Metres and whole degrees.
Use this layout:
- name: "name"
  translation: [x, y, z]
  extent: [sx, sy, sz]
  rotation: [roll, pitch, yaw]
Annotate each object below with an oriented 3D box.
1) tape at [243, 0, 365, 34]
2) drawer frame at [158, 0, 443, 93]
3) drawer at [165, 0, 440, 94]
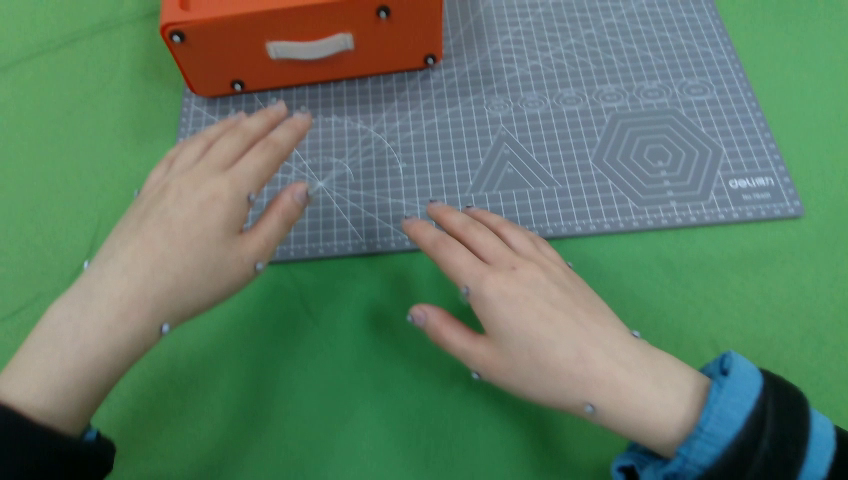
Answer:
- name: "tape"
  translation: [-0.103, -0.232, 0.506]
  extent: [0.117, 0.053, 0.116]
  rotation: [0, 63, 1]
- name: "drawer frame"
  translation: [-0.101, -0.234, 0.498]
  extent: [0.202, 0.083, 0.211]
  rotation: [-10, 62, -3]
- name: "drawer"
  translation: [-0.099, -0.231, 0.497]
  extent: [0.194, 0.074, 0.209]
  rotation: [-9, 62, -3]
